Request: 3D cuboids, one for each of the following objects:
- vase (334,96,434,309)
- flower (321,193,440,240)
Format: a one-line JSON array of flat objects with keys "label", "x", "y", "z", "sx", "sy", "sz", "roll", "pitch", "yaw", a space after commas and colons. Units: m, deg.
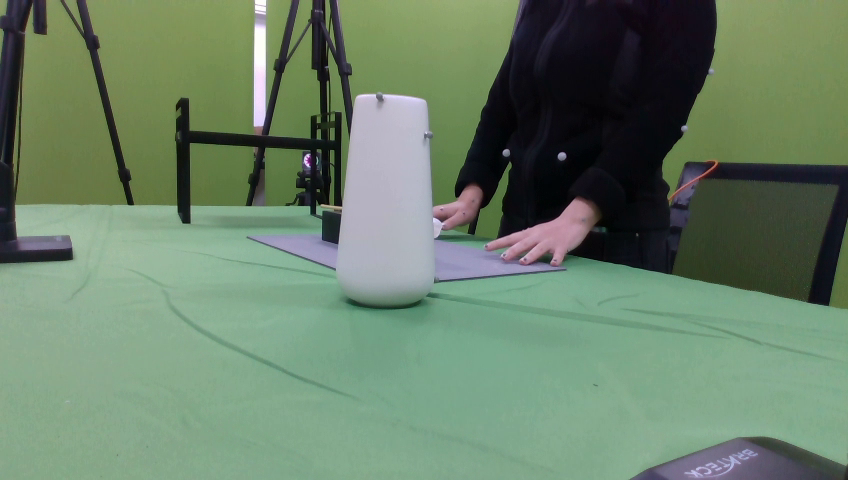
[{"label": "vase", "x": -0.038, "y": -0.036, "z": 0.590, "sx": 0.098, "sy": 0.200, "sz": 0.098, "roll": 1, "pitch": 8, "yaw": 0}, {"label": "flower", "x": -0.088, "y": -0.046, "z": 0.945, "sx": 0.044, "sy": 0.038, "sz": 0.360, "roll": -37, "pitch": 29, "yaw": -20}]
